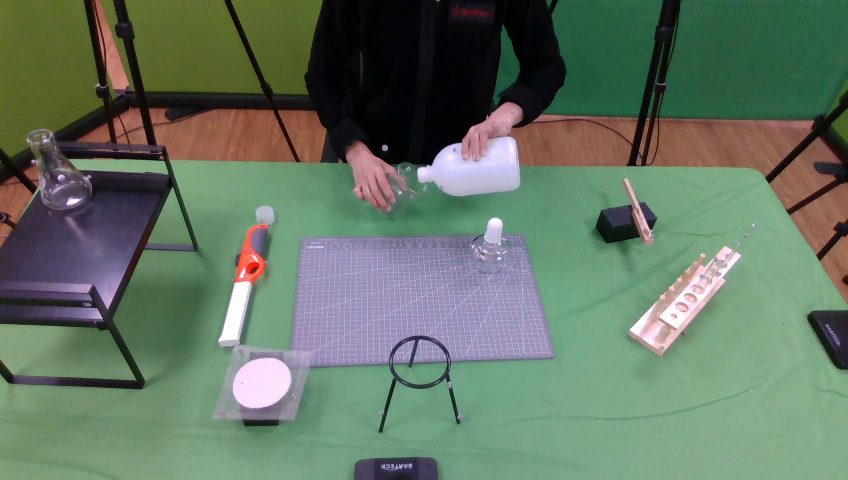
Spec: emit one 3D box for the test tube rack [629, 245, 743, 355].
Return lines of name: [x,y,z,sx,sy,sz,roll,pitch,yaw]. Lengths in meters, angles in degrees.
test tube rack: [0.474,0.095,1.091,0.242,0.085,0.066,-34,56,-31]

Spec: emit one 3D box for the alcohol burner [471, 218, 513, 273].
alcohol burner: [0.128,0.005,1.132,0.078,0.120,0.077,0,47,0]

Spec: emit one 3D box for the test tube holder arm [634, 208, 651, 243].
test tube holder arm: [0.428,-0.030,1.189,0.010,0.015,0.087,1,47,-2]

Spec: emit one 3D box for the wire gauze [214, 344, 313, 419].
wire gauze: [-0.241,0.213,0.915,0.121,0.011,0.124,5,46,1]

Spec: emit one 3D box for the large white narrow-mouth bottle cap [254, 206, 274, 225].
large white narrow-mouth bottle cap: [-0.323,-0.049,1.222,0.038,0.024,0.037,2,47,-2]

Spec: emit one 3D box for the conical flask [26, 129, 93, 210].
conical flask: [-0.575,-0.113,0.946,0.075,0.122,0.075,2,46,-2]

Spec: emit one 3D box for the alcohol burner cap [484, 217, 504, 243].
alcohol burner cap: [0.129,-0.021,1.107,0.034,0.048,0.033,4,41,-3]

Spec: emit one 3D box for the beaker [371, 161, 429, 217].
beaker: [-0.049,-0.097,1.205,0.084,0.100,0.073,31,42,-26]

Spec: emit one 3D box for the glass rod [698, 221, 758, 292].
glass rod: [0.527,0.035,1.059,0.008,0.200,0.008,5,49,-6]

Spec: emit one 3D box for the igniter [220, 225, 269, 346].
igniter: [-0.323,0.072,1.100,0.057,0.025,0.274,-6,46,5]

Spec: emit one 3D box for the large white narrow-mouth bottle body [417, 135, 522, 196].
large white narrow-mouth bottle body: [0.084,-0.137,1.151,0.194,0.102,0.101,-6,45,12]

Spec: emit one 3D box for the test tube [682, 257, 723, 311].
test tube: [0.475,0.080,1.037,0.017,0.151,0.017,1,50,-1]

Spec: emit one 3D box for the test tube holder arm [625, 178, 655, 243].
test tube holder arm: [0.433,-0.062,1.220,0.013,0.015,0.177,0,47,-3]

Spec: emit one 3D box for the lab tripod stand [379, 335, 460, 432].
lab tripod stand: [-0.011,0.214,0.911,0.148,0.132,0.147,1,45,0]
